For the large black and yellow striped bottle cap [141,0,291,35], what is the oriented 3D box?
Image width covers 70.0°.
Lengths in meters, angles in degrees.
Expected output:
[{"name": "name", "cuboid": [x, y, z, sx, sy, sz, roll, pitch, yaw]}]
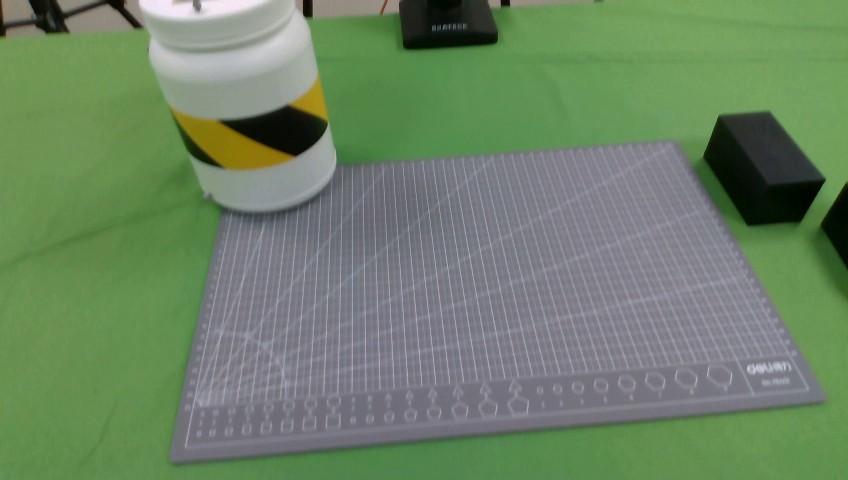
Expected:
[{"name": "large black and yellow striped bottle cap", "cuboid": [-0.160, -0.193, 0.469, 0.115, 0.019, 0.114, -2, 44, 2]}]

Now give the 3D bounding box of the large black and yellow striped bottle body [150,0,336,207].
[{"name": "large black and yellow striped bottle body", "cuboid": [-0.155, -0.135, 0.530, 0.131, 0.186, 0.129, -2, 46, 2]}]
